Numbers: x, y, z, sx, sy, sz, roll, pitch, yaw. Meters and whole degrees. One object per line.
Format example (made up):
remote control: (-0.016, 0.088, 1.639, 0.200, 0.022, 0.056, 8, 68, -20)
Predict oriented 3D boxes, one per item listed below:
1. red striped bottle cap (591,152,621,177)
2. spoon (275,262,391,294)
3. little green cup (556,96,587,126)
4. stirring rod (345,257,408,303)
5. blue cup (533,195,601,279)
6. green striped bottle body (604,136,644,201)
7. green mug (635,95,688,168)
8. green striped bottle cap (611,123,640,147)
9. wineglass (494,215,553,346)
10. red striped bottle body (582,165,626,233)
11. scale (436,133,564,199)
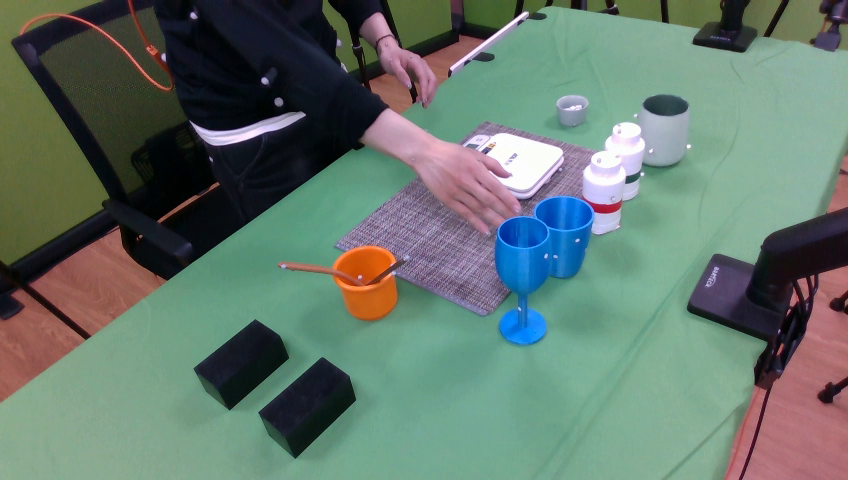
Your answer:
red striped bottle cap: (0.273, -0.114, 0.907, 0.044, 0.018, 0.044, -5, 38, 4)
spoon: (-0.120, 0.050, 0.830, 0.041, 0.195, 0.021, 32, 97, 45)
little green cup: (0.295, -0.258, 1.214, 0.061, 0.039, 0.061, -4, 42, 4)
stirring rod: (-0.067, 0.057, 0.814, 0.014, 0.175, 0.006, -23, 81, -38)
blue cup: (0.201, 0.000, 0.879, 0.092, 0.100, 0.092, -4, 39, 3)
green striped bottle body: (0.326, -0.128, 0.997, 0.063, 0.120, 0.063, -4, 41, 4)
green mug: (0.421, -0.201, 1.081, 0.092, 0.105, 0.125, 5, 42, 15)
green striped bottle cap: (0.322, -0.168, 0.963, 0.044, 0.020, 0.044, -4, 41, 4)
wineglass: (0.126, 0.055, 0.770, 0.074, 0.173, 0.073, -4, 40, 4)
red striped bottle body: (0.279, -0.075, 0.942, 0.063, 0.120, 0.062, -5, 41, 4)
scale: (0.137, -0.142, 1.101, 0.199, 0.032, 0.149, 22, 48, 30)
